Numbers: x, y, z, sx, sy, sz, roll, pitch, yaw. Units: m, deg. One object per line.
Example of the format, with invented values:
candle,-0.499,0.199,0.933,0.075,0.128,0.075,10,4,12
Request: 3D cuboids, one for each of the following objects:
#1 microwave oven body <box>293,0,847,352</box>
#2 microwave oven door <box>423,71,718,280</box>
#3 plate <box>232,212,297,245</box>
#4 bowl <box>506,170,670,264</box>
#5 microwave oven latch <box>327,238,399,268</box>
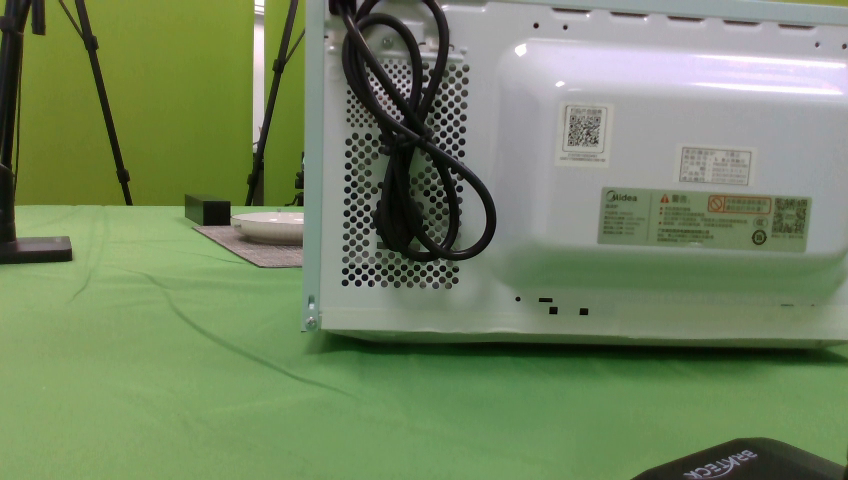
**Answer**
microwave oven body,0.122,-0.055,0.550,0.442,0.260,0.325,3,7,-5
microwave oven door,0.171,-0.088,0.776,0.354,0.243,0.039,5,7,24
plate,-0.214,-0.019,1.018,0.208,0.039,0.207,2,7,0
bowl,0.152,-0.023,0.577,0.151,0.077,0.151,1,11,0
microwave oven latch,-0.069,0.015,0.694,0.079,0.029,0.030,3,7,-3
